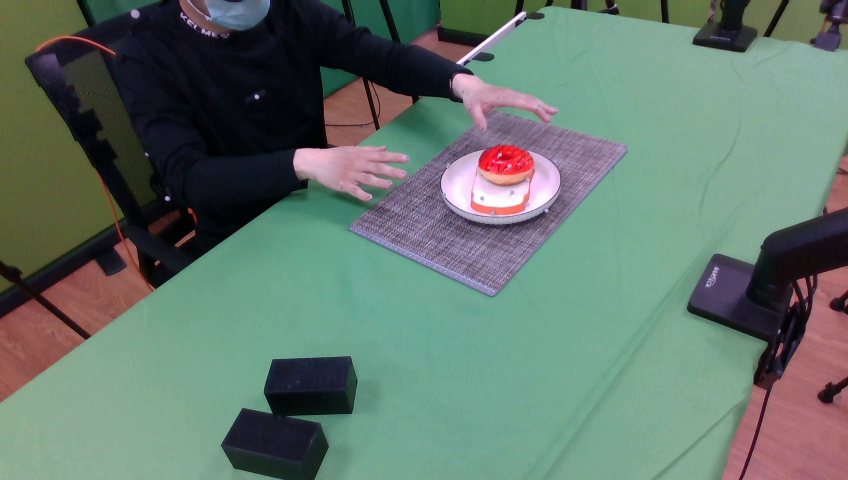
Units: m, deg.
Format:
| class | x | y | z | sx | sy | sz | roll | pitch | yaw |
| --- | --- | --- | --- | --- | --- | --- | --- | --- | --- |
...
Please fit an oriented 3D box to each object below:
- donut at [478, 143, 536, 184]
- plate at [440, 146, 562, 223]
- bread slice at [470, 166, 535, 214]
| class | x | y | z | sx | sy | sz | roll | pitch | yaw |
| --- | --- | --- | --- | --- | --- | --- | --- | --- | --- |
| donut | 0.142 | -0.132 | 1.040 | 0.099 | 0.048 | 0.098 | -4 | 37 | 3 |
| plate | 0.131 | -0.093 | 1.040 | 0.207 | 0.039 | 0.206 | -4 | 41 | 4 |
| bread slice | 0.134 | -0.089 | 1.039 | 0.104 | 0.019 | 0.131 | 3 | 40 | 12 |
